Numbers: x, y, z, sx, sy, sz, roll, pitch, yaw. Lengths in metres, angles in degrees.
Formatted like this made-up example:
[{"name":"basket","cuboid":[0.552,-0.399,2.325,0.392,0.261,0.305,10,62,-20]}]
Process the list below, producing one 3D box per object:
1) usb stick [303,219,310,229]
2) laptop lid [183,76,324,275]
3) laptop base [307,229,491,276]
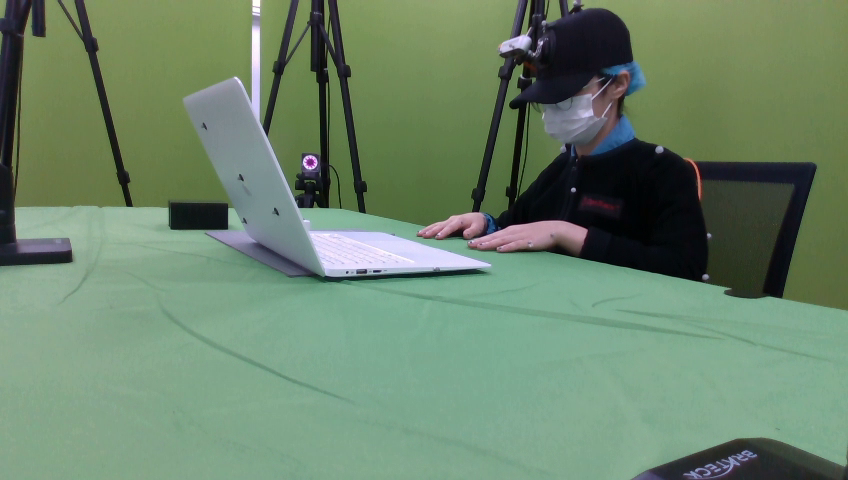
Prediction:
[{"name":"usb stick","cuboid":[-0.238,-0.024,1.101,0.021,0.027,0.059,9,13,39]},{"name":"laptop lid","cuboid":[-0.237,-0.085,0.791,0.013,0.242,0.355,-29,22,-23]},{"name":"laptop base","cuboid":[-0.094,0.015,0.888,0.237,0.023,0.352,2,7,-30]}]
